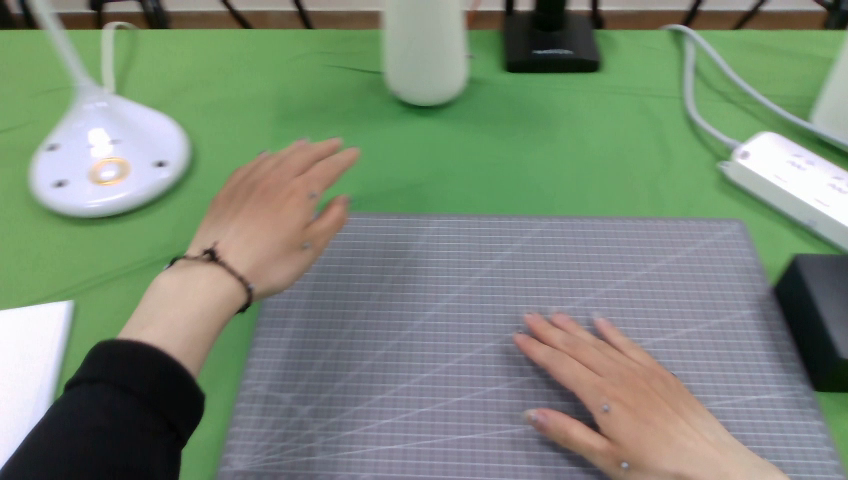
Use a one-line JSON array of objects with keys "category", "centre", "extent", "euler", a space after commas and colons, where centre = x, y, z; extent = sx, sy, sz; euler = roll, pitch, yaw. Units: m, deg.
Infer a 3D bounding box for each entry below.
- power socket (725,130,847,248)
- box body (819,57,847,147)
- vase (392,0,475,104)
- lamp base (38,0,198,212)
[{"category": "power socket", "centre": [0.403, -0.033, 0.577], "extent": [0.072, 0.033, 0.224], "euler": [-31, 55, -23]}, {"category": "box body", "centre": [0.619, -0.134, 0.571], "extent": [0.254, 0.162, 0.360], "euler": [-34, 57, -25]}, {"category": "vase", "centre": [0.011, -0.251, 0.665], "extent": [0.098, 0.202, 0.097], "euler": [0, 48, 0]}, {"category": "lamp base", "centre": [-0.333, -0.148, 0.597], "extent": [0.161, 0.182, 0.177], "euler": [-23, 50, -17]}]
